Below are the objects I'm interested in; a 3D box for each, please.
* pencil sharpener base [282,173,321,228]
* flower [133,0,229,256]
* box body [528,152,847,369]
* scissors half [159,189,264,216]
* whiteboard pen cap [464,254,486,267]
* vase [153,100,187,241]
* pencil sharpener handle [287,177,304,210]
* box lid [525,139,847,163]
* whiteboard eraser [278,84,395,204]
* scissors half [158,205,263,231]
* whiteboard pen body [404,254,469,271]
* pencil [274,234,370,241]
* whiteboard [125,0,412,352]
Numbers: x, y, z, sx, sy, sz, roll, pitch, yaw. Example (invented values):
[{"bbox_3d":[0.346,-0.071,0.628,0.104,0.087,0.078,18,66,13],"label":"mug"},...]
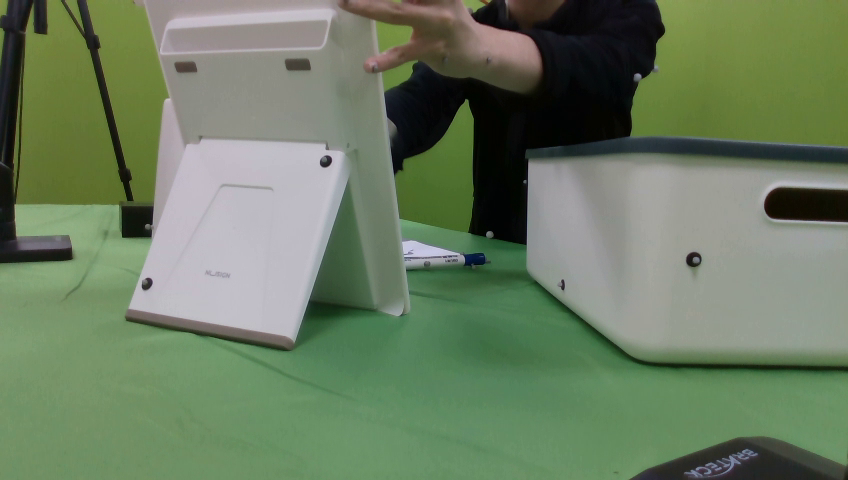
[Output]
[{"bbox_3d":[-0.247,-0.080,1.212,0.061,0.107,0.076,-2,5,-28],"label":"pencil sharpener base"},{"bbox_3d":[-0.282,-0.146,0.712,0.038,0.362,0.044,-23,23,-31],"label":"flower"},{"bbox_3d":[0.257,-0.005,0.591,0.254,0.160,0.363,2,7,-4],"label":"box body"},{"bbox_3d":[-0.370,-0.062,1.059,0.176,0.040,0.013,-11,8,-26],"label":"scissors half"},{"bbox_3d":[0.066,0.028,0.818,0.033,0.018,0.018,-6,10,-24],"label":"whiteboard pen cap"},{"bbox_3d":[-0.278,-0.066,0.736,0.098,0.200,0.098,2,9,0],"label":"vase"},{"bbox_3d":[-0.269,-0.096,1.257,0.036,0.067,0.030,-8,8,-27],"label":"pencil sharpener handle"},{"bbox_3d":[0.261,-0.078,0.580,0.264,0.015,0.371,2,7,-4],"label":"box lid"},{"bbox_3d":[-0.080,-0.079,0.529,0.112,0.055,0.042,-37,8,36],"label":"whiteboard eraser"},{"bbox_3d":[-0.371,-0.042,1.061,0.176,0.040,0.012,8,5,-28],"label":"scissors half"},{"bbox_3d":[0.013,0.030,0.792,0.141,0.017,0.017,-4,9,-24],"label":"whiteboard pen body"},{"bbox_3d":[-0.169,-0.005,1.036,0.195,0.012,0.012,-1,8,-45],"label":"pencil"},{"bbox_3d":[-0.151,-0.049,0.472,0.216,0.305,0.144,6,28,24],"label":"whiteboard"}]
